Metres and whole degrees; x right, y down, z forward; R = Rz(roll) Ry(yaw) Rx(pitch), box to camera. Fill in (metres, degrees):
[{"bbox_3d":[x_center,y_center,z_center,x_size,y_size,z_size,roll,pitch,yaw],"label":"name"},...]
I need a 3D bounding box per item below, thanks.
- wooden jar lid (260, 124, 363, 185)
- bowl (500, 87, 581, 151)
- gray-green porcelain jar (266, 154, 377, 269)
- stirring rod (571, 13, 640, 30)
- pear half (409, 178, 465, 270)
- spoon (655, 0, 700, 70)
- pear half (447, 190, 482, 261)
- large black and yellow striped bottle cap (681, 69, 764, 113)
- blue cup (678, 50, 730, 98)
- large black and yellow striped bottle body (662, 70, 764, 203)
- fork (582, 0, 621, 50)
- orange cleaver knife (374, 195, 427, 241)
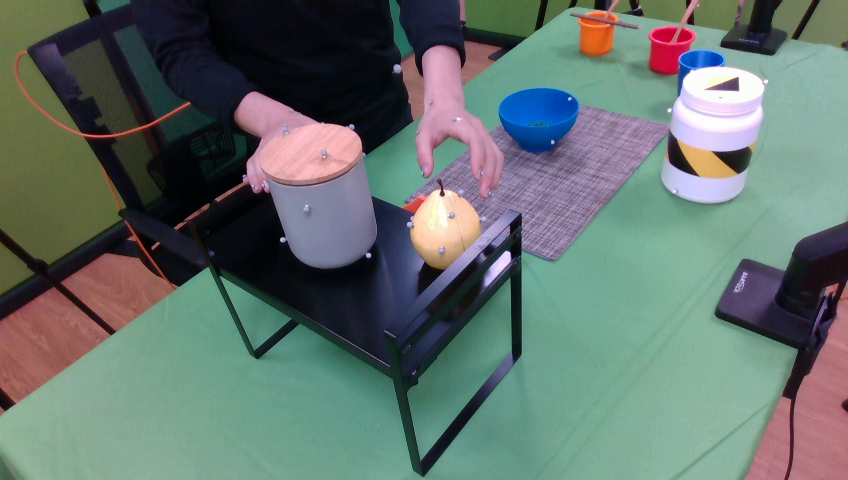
[{"bbox_3d":[-0.119,-0.088,0.644,0.108,0.021,0.108,-4,40,3],"label":"wooden jar lid"},{"bbox_3d":[0.221,-0.223,1.156,0.151,0.077,0.150,-4,40,4],"label":"bowl"},{"bbox_3d":[-0.112,-0.039,0.685,0.106,0.127,0.105,-4,40,4],"label":"gray-green porcelain jar"},{"bbox_3d":[0.419,-0.508,1.404,0.174,0.006,0.014,28,55,35],"label":"stirring rod"},{"bbox_3d":[0.011,-0.019,0.655,0.056,0.110,0.076,-16,37,-9],"label":"pear half"},{"bbox_3d":[0.568,-0.463,1.337,0.041,0.022,0.193,30,97,37],"label":"spoon"},{"bbox_3d":[0.046,-0.020,0.665,0.031,0.088,0.070,-17,38,-9],"label":"pear half"},{"bbox_3d":[0.453,-0.229,0.921,0.115,0.019,0.114,-4,39,4],"label":"large black and yellow striped bottle cap"},{"bbox_3d":[0.542,-0.310,1.194,0.092,0.101,0.092,-6,41,6],"label":"blue cup"},{"bbox_3d":[0.464,-0.166,0.976,0.131,0.185,0.130,-5,41,5],"label":"large black and yellow striped bottle body"},{"bbox_3d":[0.446,-0.539,1.438,0.207,0.019,0.028,-57,35,12],"label":"fork"},{"bbox_3d":[-0.037,-0.029,0.973,0.210,0.077,0.012,-8,33,50],"label":"orange cleaver knife"}]
